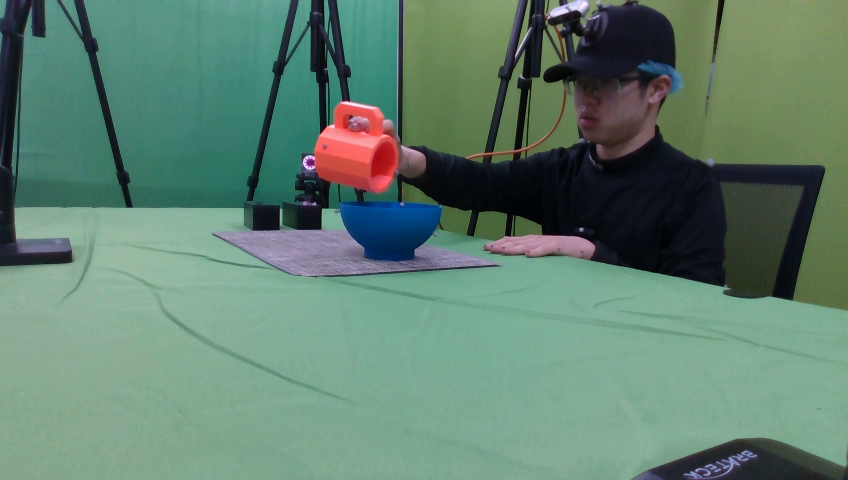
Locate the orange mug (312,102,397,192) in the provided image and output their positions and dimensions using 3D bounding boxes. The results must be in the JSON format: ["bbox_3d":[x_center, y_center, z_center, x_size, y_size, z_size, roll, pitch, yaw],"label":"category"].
[{"bbox_3d":[-0.101,-0.139,0.897,0.100,0.126,0.084,18,27,23],"label":"orange mug"}]

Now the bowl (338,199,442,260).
[{"bbox_3d":[-0.050,-0.015,0.878,0.151,0.077,0.151,2,8,0],"label":"bowl"}]
